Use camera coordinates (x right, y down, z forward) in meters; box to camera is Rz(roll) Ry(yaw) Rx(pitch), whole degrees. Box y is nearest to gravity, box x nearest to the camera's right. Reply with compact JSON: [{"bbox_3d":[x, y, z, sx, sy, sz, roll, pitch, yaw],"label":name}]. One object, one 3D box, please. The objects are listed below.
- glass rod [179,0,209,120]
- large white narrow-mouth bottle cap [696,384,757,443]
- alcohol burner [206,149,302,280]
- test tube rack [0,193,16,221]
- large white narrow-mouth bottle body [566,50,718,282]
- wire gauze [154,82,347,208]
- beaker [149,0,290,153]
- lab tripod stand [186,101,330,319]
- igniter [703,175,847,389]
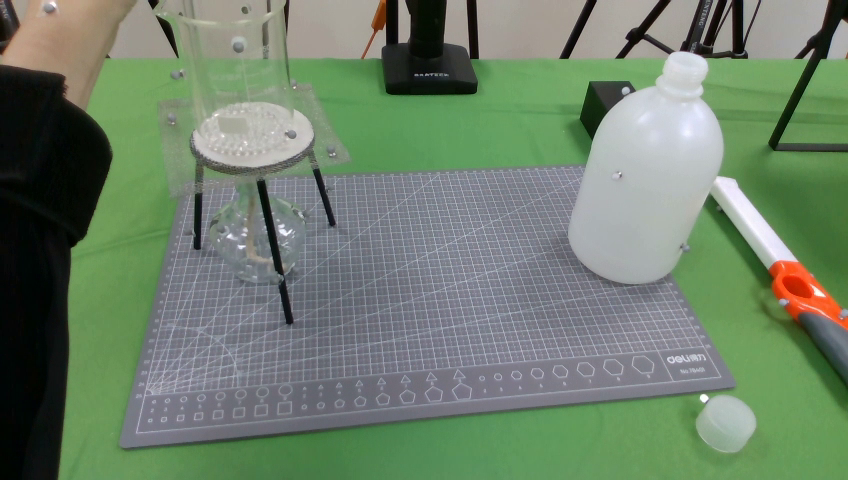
[{"bbox_3d":[-0.155,-0.168,0.381,0.008,0.201,0.008,3,36,-1],"label":"glass rod"},{"bbox_3d":[0.219,0.126,0.440,0.038,0.024,0.037,2,42,-2],"label":"large white narrow-mouth bottle cap"},{"bbox_3d":[-0.140,-0.024,0.498,0.078,0.120,0.077,4,41,-3],"label":"alcohol burner"},{"bbox_3d":[-0.482,-0.013,0.481,0.066,0.086,0.242,33,49,27],"label":"test tube rack"},{"bbox_3d":[0.185,-0.062,0.508,0.102,0.196,0.101,2,43,-1],"label":"large white narrow-mouth bottle body"},{"bbox_3d":[-0.131,-0.079,0.448,0.122,0.011,0.123,-14,50,-17],"label":"wire gauze"},{"bbox_3d":[-0.133,-0.118,0.416,0.084,0.101,0.073,-8,46,-14],"label":"beaker"},{"bbox_3d":[-0.130,-0.030,0.491,0.148,0.132,0.147,4,43,-3],"label":"lab tripod stand"},{"bbox_3d":[0.326,0.030,0.549,0.057,0.025,0.273,6,41,-15],"label":"igniter"}]
